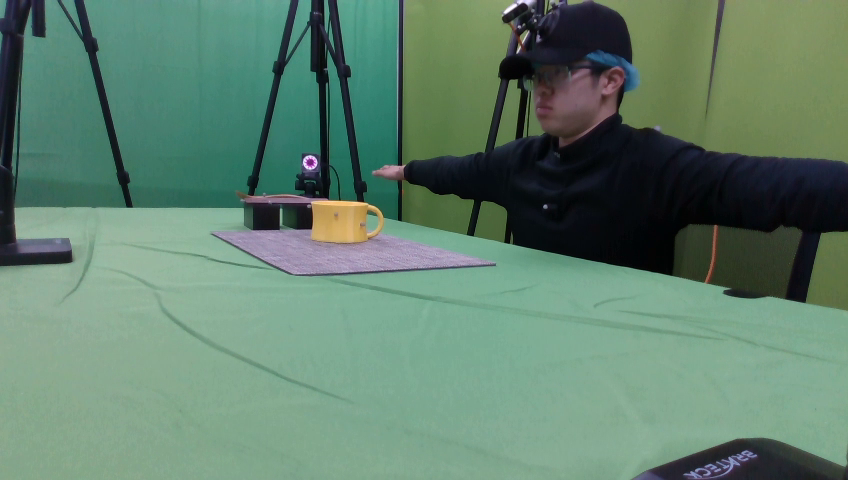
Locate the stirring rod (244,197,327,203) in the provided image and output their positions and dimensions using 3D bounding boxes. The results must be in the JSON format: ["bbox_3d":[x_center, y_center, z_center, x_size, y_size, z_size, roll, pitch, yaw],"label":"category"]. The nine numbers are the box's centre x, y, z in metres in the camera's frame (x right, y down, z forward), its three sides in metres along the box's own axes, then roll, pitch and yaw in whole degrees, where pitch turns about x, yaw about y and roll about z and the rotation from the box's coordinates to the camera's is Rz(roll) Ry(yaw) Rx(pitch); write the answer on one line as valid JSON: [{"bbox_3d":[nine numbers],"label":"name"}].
[{"bbox_3d":[-0.271,-0.079,1.201,0.177,0.006,0.014,-2,46,-36],"label":"stirring rod"}]

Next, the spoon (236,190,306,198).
[{"bbox_3d":[-0.290,-0.088,1.248,0.195,0.021,0.041,0,6,-32],"label":"spoon"}]

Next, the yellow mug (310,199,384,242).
[{"bbox_3d":[-0.132,-0.035,1.054,0.131,0.064,0.099,0,8,-23],"label":"yellow mug"}]
